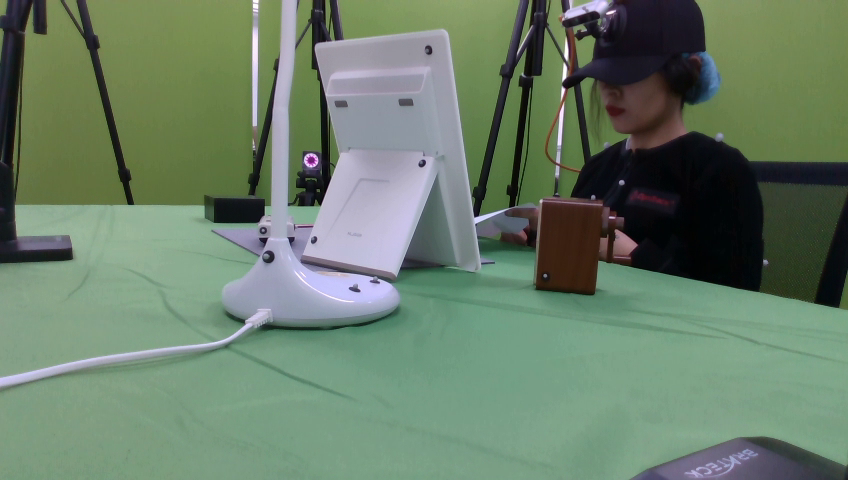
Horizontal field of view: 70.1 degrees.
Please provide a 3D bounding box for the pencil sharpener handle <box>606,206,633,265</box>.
[{"bbox_3d":[0.222,-0.004,0.683,0.030,0.068,0.036,5,21,16],"label":"pencil sharpener handle"}]

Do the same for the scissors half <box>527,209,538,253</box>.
[{"bbox_3d":[0.196,-0.018,1.093,0.012,0.040,0.176,14,-20,21],"label":"scissors half"}]

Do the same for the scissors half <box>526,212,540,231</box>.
[{"bbox_3d":[0.202,-0.038,1.097,0.013,0.040,0.176,9,0,20],"label":"scissors half"}]

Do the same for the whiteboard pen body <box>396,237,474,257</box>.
[{"bbox_3d":[0.014,0.012,0.886,0.140,0.017,0.017,9,10,38],"label":"whiteboard pen body"}]

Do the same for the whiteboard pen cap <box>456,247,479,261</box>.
[{"bbox_3d":[0.060,0.020,0.851,0.033,0.018,0.018,10,10,37],"label":"whiteboard pen cap"}]

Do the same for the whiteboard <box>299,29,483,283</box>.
[{"bbox_3d":[-0.074,-0.082,0.742,0.216,0.305,0.144,9,30,38],"label":"whiteboard"}]

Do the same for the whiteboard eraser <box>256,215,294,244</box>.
[{"bbox_3d":[-0.232,-0.016,0.951,0.056,0.042,0.112,2,7,-12],"label":"whiteboard eraser"}]

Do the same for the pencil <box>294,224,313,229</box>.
[{"bbox_3d":[-0.220,-0.028,1.211,0.195,0.012,0.012,-5,10,-34],"label":"pencil"}]

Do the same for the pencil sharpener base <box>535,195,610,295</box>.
[{"bbox_3d":[0.172,0.005,0.695,0.076,0.107,0.061,5,7,16],"label":"pencil sharpener base"}]

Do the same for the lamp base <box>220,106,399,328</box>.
[{"bbox_3d":[-0.101,-0.023,0.531,0.160,0.180,0.179,4,10,10],"label":"lamp base"}]
